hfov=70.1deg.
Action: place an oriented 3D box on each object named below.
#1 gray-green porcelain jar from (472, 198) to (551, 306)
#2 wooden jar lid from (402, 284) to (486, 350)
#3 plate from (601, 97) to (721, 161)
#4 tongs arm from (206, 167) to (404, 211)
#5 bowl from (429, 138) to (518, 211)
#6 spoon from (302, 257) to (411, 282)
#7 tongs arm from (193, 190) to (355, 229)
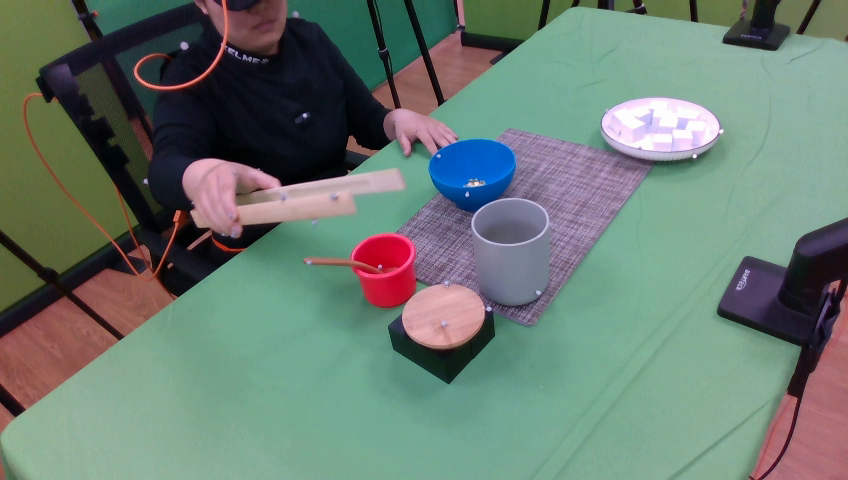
[{"bbox_3d":[0.125,0.021,0.850,0.106,0.127,0.105,-6,40,5],"label":"gray-green porcelain jar"},{"bbox_3d":[0.026,0.101,0.786,0.108,0.021,0.108,-5,39,4],"label":"wooden jar lid"},{"bbox_3d":[0.436,-0.203,1.126,0.209,0.038,0.208,-5,39,4],"label":"plate"},{"bbox_3d":[-0.169,-0.056,0.780,0.384,0.028,0.028,-4,26,42],"label":"tongs arm"},{"bbox_3d":[0.087,-0.104,1.043,0.151,0.077,0.150,-5,40,5],"label":"bowl"},{"bbox_3d":[-0.092,0.038,0.865,0.195,0.021,0.041,16,15,-46],"label":"spoon"},{"bbox_3d":[-0.197,-0.038,0.751,0.382,0.026,0.051,-4,23,43],"label":"tongs arm"}]
